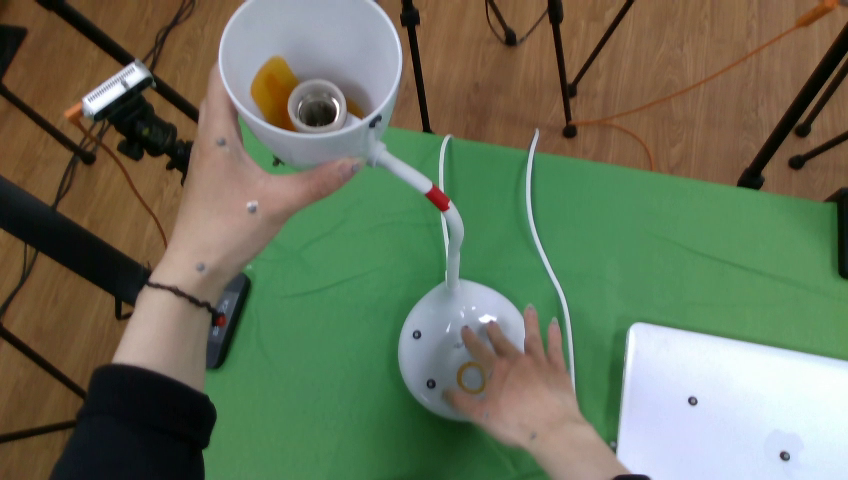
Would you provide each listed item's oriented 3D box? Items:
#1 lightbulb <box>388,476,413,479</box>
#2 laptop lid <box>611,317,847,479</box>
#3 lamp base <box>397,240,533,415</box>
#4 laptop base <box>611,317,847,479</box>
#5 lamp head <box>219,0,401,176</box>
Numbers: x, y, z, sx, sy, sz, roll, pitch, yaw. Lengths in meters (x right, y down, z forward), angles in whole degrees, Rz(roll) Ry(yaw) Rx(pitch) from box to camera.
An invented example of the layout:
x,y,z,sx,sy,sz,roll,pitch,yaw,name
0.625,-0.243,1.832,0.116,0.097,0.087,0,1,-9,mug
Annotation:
x,y,z,sx,sy,sz,roll,pitch,yaw,name
-0.048,0.279,0.648,0.107,0.060,0.059,4,68,20,lightbulb
0.387,0.226,0.653,0.356,0.013,0.240,12,72,7,laptop lid
0.040,0.085,0.647,0.161,0.181,0.177,-18,66,-4,lamp base
0.389,0.228,0.665,0.354,0.023,0.234,10,73,6,laptop base
-0.070,-0.094,0.424,0.112,0.123,0.111,0,69,0,lamp head
